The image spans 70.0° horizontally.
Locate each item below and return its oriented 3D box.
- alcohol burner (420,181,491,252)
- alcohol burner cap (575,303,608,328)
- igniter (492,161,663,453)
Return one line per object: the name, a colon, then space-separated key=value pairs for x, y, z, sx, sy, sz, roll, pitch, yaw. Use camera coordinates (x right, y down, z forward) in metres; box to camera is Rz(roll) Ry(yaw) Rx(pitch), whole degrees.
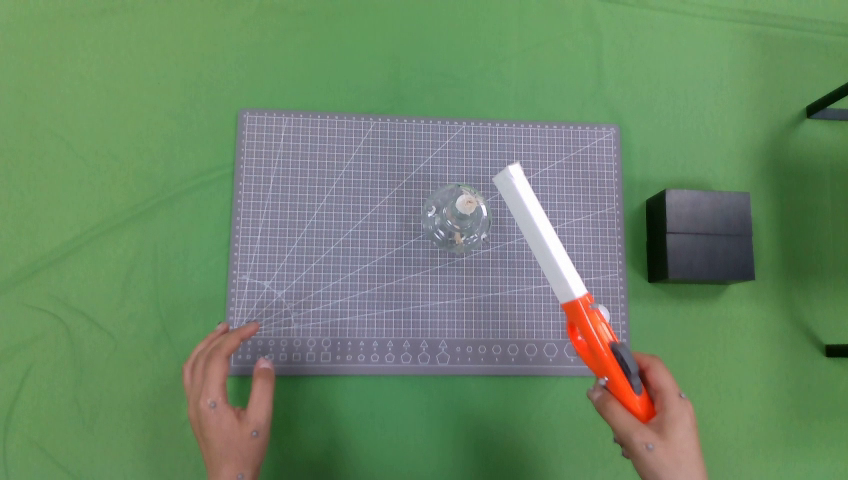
alcohol burner: x=0.036 y=-0.028 z=0.641 sx=0.078 sy=0.119 sz=0.077 roll=1 pitch=80 yaw=-7
alcohol burner cap: x=0.186 y=0.085 z=0.673 sx=0.034 sy=0.048 sz=0.033 roll=1 pitch=80 yaw=-4
igniter: x=0.134 y=0.060 z=0.529 sx=0.025 sy=0.057 sz=0.276 roll=-25 pitch=86 yaw=-28
